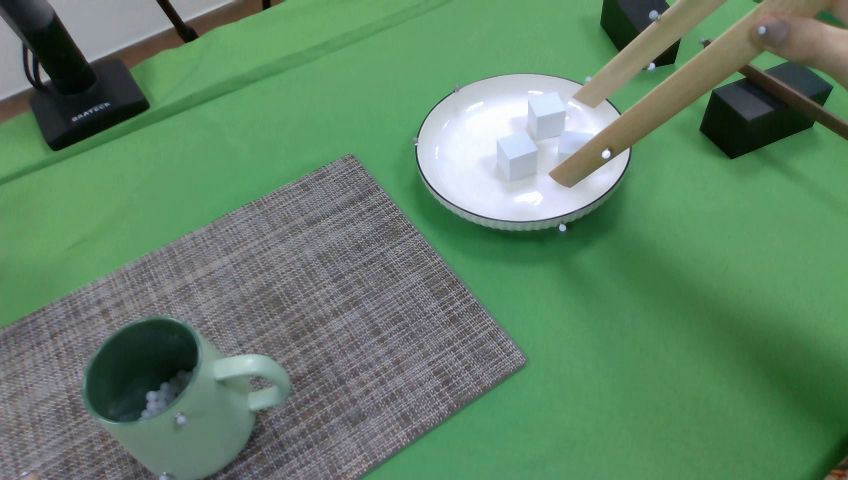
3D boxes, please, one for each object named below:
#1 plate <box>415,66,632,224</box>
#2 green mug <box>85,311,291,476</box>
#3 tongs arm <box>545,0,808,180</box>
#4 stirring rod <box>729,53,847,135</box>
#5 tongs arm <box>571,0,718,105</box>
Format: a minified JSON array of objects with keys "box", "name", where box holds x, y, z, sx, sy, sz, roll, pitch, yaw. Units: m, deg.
[{"box":[0.096,-0.094,0.603,0.207,0.039,0.205,-3,53,4],"name":"plate"},{"box":[-0.159,0.108,0.435,0.125,0.106,0.091,-11,52,-2],"name":"green mug"},{"box":[0.183,-0.128,0.358,0.028,0.388,0.028,32,61,-7],"name":"tongs arm"},{"box":[0.329,-0.148,0.567,0.006,0.014,0.174,-27,55,-16],"name":"stirring rod"},{"box":[0.201,-0.170,0.378,0.026,0.385,0.050,29,65,-9],"name":"tongs arm"}]
